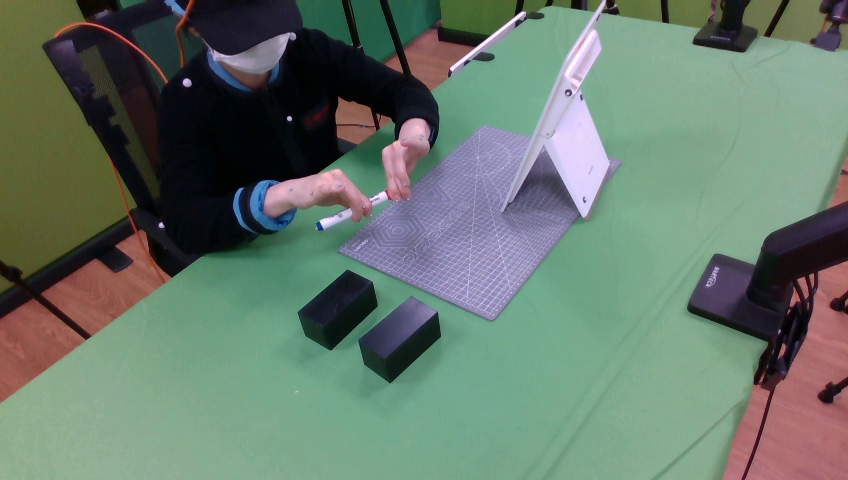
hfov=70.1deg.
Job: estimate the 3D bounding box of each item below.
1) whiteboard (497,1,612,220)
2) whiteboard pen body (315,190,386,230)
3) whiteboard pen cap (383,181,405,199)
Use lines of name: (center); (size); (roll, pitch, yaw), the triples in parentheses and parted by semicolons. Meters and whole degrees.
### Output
whiteboard: (0.260, -0.178, 0.963); (0.143, 0.306, 0.217); (28, 49, 9)
whiteboard pen body: (-0.098, -0.050, 0.901); (0.141, 0.017, 0.016); (-27, 44, -14)
whiteboard pen cap: (-0.046, -0.075, 0.916); (0.032, 0.017, 0.017); (-26, 44, -16)
